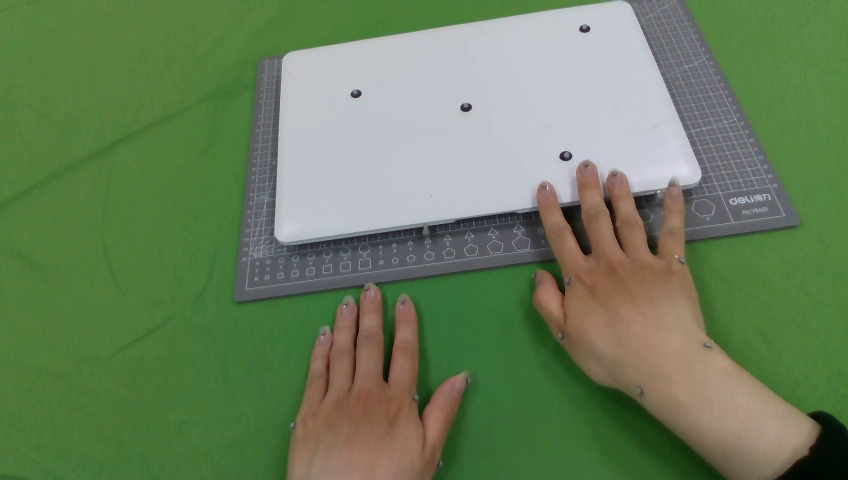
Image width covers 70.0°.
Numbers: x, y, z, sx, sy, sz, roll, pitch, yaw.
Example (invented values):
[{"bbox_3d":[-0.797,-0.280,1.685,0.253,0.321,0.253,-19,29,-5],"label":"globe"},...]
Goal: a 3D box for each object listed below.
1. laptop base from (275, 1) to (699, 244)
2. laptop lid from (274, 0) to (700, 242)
[{"bbox_3d":[0.041,-0.115,0.559,0.354,0.023,0.233,-8,60,2],"label":"laptop base"},{"bbox_3d":[0.039,-0.119,0.548,0.356,0.013,0.239,-6,59,3],"label":"laptop lid"}]
